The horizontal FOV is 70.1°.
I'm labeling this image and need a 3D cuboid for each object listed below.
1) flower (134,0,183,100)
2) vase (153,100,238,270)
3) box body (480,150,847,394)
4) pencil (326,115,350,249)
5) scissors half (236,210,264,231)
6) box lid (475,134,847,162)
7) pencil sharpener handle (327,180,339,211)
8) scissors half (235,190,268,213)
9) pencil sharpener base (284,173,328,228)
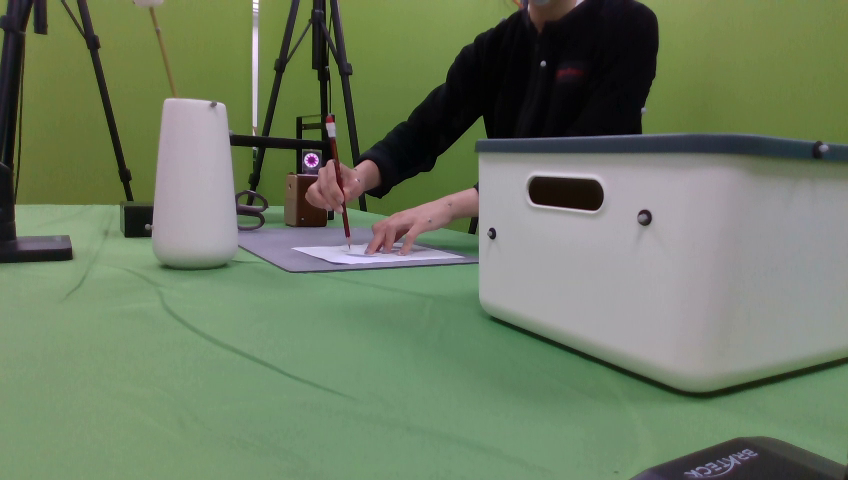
[{"bbox_3d":[-0.282,-0.147,0.713,0.038,0.362,0.044,-23,24,-31],"label":"flower"},{"bbox_3d":[-0.278,-0.066,0.736,0.098,0.200,0.098,2,9,0],"label":"vase"},{"bbox_3d":[0.254,0.002,0.539,0.366,0.160,0.253,-2,8,-31],"label":"box body"},{"bbox_3d":[-0.122,-0.081,0.872,0.012,0.194,0.012,-7,10,2],"label":"pencil"},{"bbox_3d":[-0.369,-0.051,1.065,0.176,0.040,0.012,19,13,-27],"label":"scissors half"},{"bbox_3d":[0.256,-0.073,0.528,0.373,0.015,0.262,-2,8,-31],"label":"box lid"},{"bbox_3d":[-0.194,-0.095,1.257,0.031,0.067,0.036,-2,-6,-36],"label":"pencil sharpener handle"},{"bbox_3d":[-0.363,-0.070,1.060,0.176,0.040,0.013,0,16,-23],"label":"scissors half"},{"bbox_3d":[-0.239,-0.081,1.231,0.077,0.107,0.061,-2,8,-36],"label":"pencil sharpener base"}]
